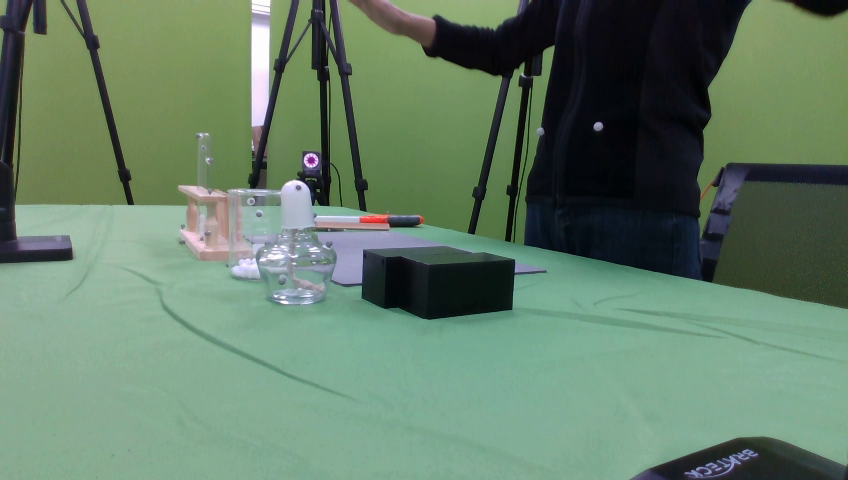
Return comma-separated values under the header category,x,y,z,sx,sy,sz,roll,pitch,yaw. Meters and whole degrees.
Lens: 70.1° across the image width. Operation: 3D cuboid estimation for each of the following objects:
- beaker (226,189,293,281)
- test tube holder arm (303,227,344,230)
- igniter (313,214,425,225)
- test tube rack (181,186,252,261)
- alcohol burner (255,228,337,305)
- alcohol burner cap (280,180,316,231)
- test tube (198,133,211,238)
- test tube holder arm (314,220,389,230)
category,x,y,z,sx,sy,sz,roll,pitch,yaw
beaker,-0.184,-0.007,0.694,0.084,0.100,0.073,-1,8,-29
test tube holder arm,-0.197,-0.026,1.163,0.088,0.015,0.010,0,-26,-20
igniter,-0.129,-0.044,1.273,0.278,0.025,0.057,-1,-2,-26
test tube rack,-0.312,-0.031,0.893,0.067,0.085,0.241,-1,8,-27
alcohol burner,-0.124,0.002,0.585,0.078,0.119,0.078,0,7,0
alcohol burner cap,-0.122,-0.034,0.581,0.034,0.048,0.034,-3,10,1
test tube,-0.316,-0.078,0.871,0.017,0.150,0.017,2,3,0
test tube holder arm,-0.153,-0.028,1.175,0.179,0.015,0.013,1,-26,-22
